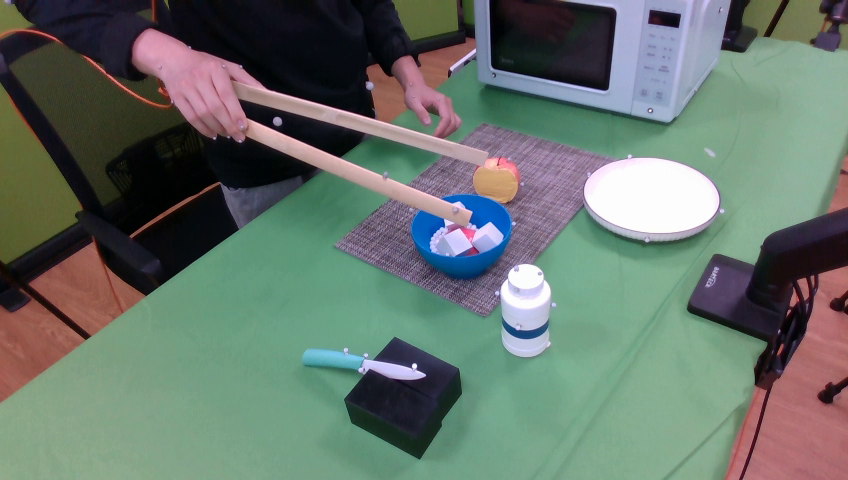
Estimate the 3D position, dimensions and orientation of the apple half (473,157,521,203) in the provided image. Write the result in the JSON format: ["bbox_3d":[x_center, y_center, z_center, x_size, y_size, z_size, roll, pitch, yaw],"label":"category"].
[{"bbox_3d":[0.127,-0.106,1.030,0.080,0.075,0.053,4,36,19],"label":"apple half"}]

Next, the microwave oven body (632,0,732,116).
[{"bbox_3d":[0.377,-0.462,1.267,0.438,0.261,0.327,21,48,30],"label":"microwave oven body"}]

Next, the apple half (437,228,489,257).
[{"bbox_3d":[0.055,0.003,0.901,0.081,0.033,0.081,-1,40,2],"label":"apple half"}]

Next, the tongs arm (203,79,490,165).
[{"bbox_3d":[-0.099,-0.157,0.815,0.388,0.028,0.028,14,48,-6],"label":"tongs arm"}]

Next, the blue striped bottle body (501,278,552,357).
[{"bbox_3d":[0.129,0.089,0.769,0.063,0.121,0.063,-4,41,4],"label":"blue striped bottle body"}]

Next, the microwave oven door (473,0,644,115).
[{"bbox_3d":[0.257,-0.396,1.199,0.353,0.245,0.039,21,48,29],"label":"microwave oven door"}]

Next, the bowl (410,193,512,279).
[{"bbox_3d":[0.058,0.005,0.905,0.151,0.077,0.150,-4,40,4],"label":"bowl"}]

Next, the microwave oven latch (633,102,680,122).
[{"bbox_3d":[0.444,-0.249,1.157,0.078,0.029,0.030,21,48,30],"label":"microwave oven latch"}]

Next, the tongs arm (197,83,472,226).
[{"bbox_3d":[-0.116,-0.109,0.759,0.385,0.026,0.050,21,44,3],"label":"tongs arm"}]

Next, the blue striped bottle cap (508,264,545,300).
[{"bbox_3d":[0.125,0.050,0.735,0.044,0.021,0.044,-5,39,5],"label":"blue striped bottle cap"}]

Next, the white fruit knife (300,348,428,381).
[{"bbox_3d":[-0.079,0.154,0.748,0.206,0.027,0.016,0,20,34],"label":"white fruit knife"}]

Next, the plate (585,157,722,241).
[{"bbox_3d":[0.367,-0.063,0.979,0.207,0.039,0.206,-4,40,4],"label":"plate"}]
